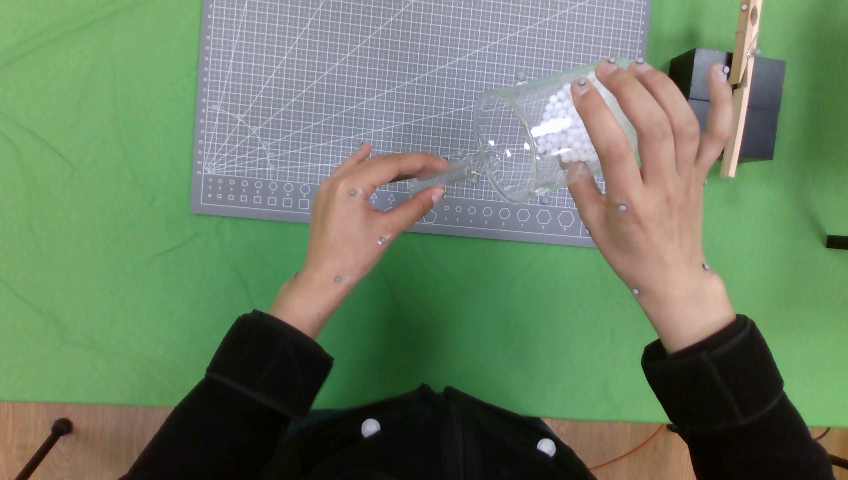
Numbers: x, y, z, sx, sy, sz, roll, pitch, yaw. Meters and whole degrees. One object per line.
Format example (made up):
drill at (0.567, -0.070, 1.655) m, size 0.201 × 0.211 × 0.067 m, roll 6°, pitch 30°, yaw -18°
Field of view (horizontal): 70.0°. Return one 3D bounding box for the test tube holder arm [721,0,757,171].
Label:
test tube holder arm at (0.313, -0.158, 0.601) m, size 0.013 × 0.015 × 0.178 m, roll 2°, pitch 95°, yaw -16°

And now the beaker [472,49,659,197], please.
beaker at (0.091, -0.077, 0.393) m, size 0.100 × 0.084 × 0.074 m, roll -20°, pitch 90°, yaw -16°

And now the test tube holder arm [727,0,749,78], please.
test tube holder arm at (0.311, -0.204, 0.596) m, size 0.010 × 0.015 × 0.088 m, roll 3°, pitch 95°, yaw -15°

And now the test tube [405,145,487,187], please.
test tube at (0.013, -0.057, 0.486) m, size 0.017 × 0.149 × 0.017 m, roll 0°, pitch 89°, yaw -20°
